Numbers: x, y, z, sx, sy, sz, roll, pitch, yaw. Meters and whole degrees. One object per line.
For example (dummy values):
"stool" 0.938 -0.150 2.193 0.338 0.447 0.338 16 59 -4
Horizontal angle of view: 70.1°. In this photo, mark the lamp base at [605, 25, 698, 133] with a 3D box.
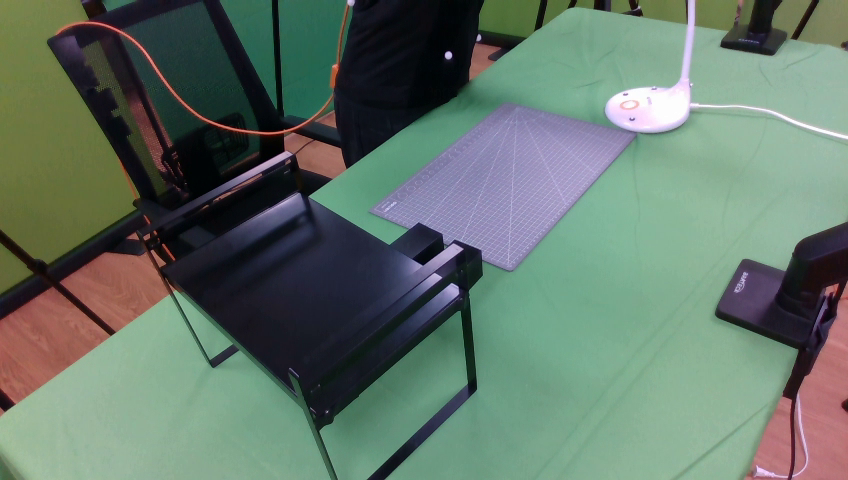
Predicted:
"lamp base" 0.449 -0.321 1.161 0.179 0.181 0.159 -6 41 -2
